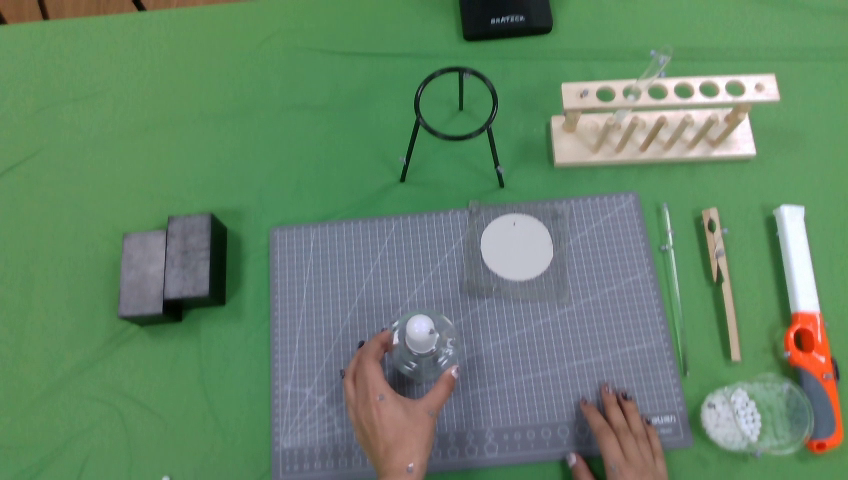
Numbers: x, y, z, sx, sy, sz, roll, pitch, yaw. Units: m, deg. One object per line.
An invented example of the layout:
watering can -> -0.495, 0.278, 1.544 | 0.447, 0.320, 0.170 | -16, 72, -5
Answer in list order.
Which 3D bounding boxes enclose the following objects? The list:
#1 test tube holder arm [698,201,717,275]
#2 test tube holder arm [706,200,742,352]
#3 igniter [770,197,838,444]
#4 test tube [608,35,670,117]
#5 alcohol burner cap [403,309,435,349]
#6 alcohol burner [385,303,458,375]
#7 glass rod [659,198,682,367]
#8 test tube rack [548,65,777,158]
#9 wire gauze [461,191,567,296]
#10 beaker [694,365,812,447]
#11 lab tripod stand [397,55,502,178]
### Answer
test tube holder arm -> 0.334, -0.003, 0.709 | 0.010, 0.015, 0.087 | -15, 69, 34
test tube holder arm -> 0.341, 0.039, 0.692 | 0.013, 0.015, 0.177 | -16, 68, 34
igniter -> 0.420, 0.083, 0.672 | 0.057, 0.025, 0.275 | 5, 72, -8
test tube -> 0.237, -0.179, 0.679 | 0.017, 0.151, 0.017 | 1, 73, -3
alcohol burner cap -> -0.005, 0.085, 0.599 | 0.034, 0.048, 0.033 | 0, 64, 0
alcohol burner -> -0.004, 0.099, 0.632 | 0.078, 0.120, 0.077 | -1, 69, 4
glass rod -> 0.284, 0.046, 0.698 | 0.008, 0.008, 0.198 | 0, 74, 2
test tube rack -> 0.278, -0.151, 0.721 | 0.242, 0.086, 0.066 | -2, 72, 1
wire gauze -> 0.108, 0.001, 0.717 | 0.125, 0.011, 0.121 | 5, 74, 3
beaker -> 0.322, 0.168, 0.611 | 0.083, 0.101, 0.074 | 25, 74, 11
lab tripod stand -> 0.031, -0.134, 0.699 | 0.148, 0.132, 0.147 | -1, 74, 2
